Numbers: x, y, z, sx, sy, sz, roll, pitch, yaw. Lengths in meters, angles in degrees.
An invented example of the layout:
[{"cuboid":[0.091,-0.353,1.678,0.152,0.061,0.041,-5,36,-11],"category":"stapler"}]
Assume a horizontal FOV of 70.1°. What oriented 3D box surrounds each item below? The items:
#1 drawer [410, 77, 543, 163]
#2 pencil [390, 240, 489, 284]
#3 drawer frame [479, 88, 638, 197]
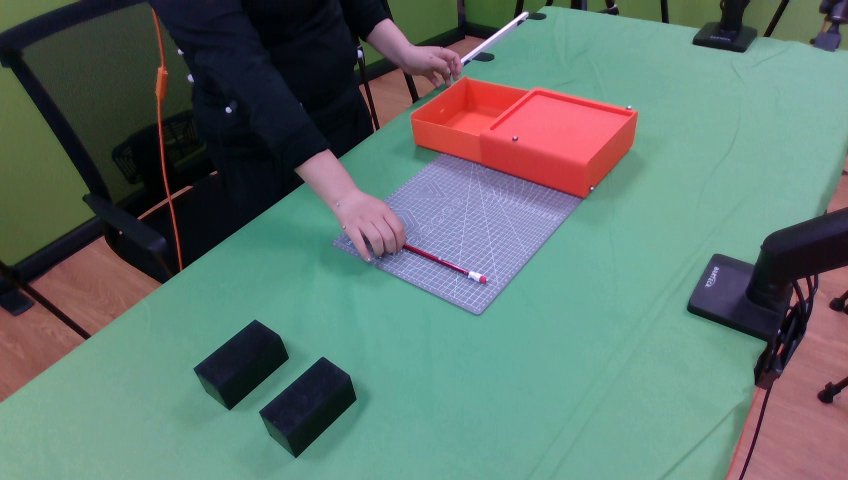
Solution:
[{"cuboid":[0.114,-0.235,1.186,0.210,0.073,0.195,21,46,32],"category":"drawer"},{"cuboid":[0.018,0.030,0.937,0.192,0.012,0.012,22,48,33],"category":"pencil"},{"cuboid":[0.243,-0.184,1.100,0.212,0.083,0.202,23,48,30],"category":"drawer frame"}]
